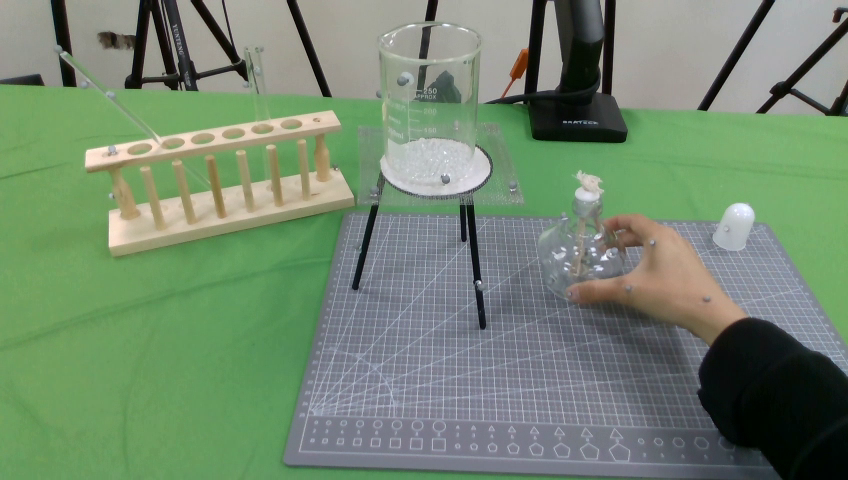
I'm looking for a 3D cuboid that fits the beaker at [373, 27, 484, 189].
[{"bbox_3d":[0.000,-0.096,0.447,0.083,0.101,0.074,22,43,26],"label":"beaker"}]

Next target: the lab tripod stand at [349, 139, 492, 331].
[{"bbox_3d":[0.004,-0.007,0.520,0.148,0.132,0.147,0,40,0],"label":"lab tripod stand"}]

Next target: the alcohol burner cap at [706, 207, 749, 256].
[{"bbox_3d":[0.306,-0.011,0.607,0.034,0.048,0.033,1,39,0],"label":"alcohol burner cap"}]

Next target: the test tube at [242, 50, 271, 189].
[{"bbox_3d":[-0.168,-0.118,0.618,0.017,0.151,0.017,2,36,-1],"label":"test tube"}]

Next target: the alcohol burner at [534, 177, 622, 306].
[{"bbox_3d":[0.136,-0.001,0.531,0.078,0.120,0.077,-2,37,2],"label":"alcohol burner"}]

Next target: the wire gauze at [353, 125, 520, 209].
[{"bbox_3d":[0.005,-0.058,0.479,0.125,0.011,0.120,-4,37,-1],"label":"wire gauze"}]

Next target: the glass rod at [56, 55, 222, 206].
[{"bbox_3d":[-0.262,-0.095,0.576,0.008,0.202,0.008,-19,45,20],"label":"glass rod"}]

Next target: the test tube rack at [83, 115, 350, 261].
[{"bbox_3d":[-0.203,-0.058,0.621,0.243,0.086,0.066,-13,41,-18],"label":"test tube rack"}]
